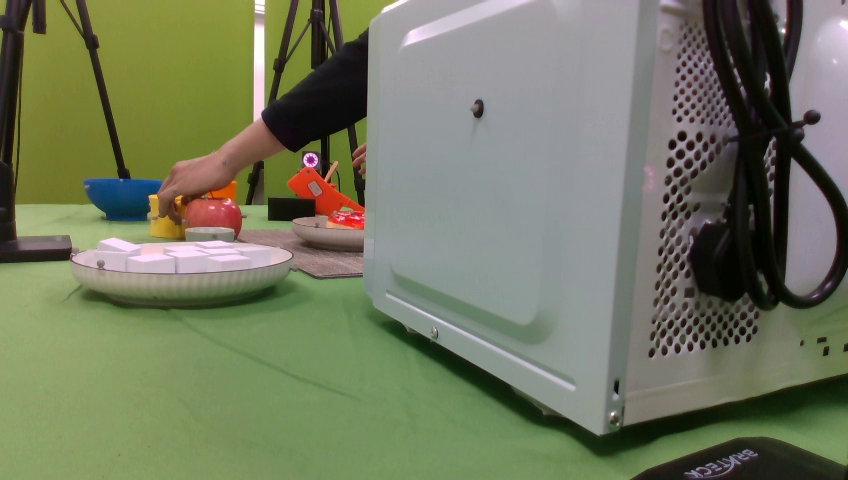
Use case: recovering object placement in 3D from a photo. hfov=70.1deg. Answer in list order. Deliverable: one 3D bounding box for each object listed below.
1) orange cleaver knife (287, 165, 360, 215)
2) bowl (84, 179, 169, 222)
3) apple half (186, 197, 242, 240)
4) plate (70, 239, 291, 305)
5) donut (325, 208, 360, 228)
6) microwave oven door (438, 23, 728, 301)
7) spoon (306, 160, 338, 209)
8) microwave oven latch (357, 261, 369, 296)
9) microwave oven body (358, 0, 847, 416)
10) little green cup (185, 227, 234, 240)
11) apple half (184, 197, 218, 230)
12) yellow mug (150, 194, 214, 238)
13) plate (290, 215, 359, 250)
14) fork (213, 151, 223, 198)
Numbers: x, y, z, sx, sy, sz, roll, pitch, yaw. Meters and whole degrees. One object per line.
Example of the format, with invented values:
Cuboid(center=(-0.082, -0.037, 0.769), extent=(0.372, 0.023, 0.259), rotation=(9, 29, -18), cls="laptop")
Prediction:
Cuboid(center=(-0.211, -0.092, 1.382), extent=(0.212, 0.077, 0.012), rotation=(33, 1, -15), cls="orange cleaver knife")
Cuboid(center=(-0.584, -0.078, 1.194), extent=(0.151, 0.077, 0.151), rotation=(3, 8, 0), cls="bowl")
Cuboid(center=(-0.307, -0.026, 0.904), extent=(0.053, 0.074, 0.081), rotation=(13, 9, 37), cls="apple half")
Cuboid(center=(-0.242, 0.031, 0.618), extent=(0.208, 0.039, 0.207), rotation=(3, 8, 0), cls="plate")
Cuboid(center=(-0.111, -0.025, 0.974), extent=(0.099, 0.048, 0.099), rotation=(5, 8, 0), cls="donut")
Cuboid(center=(0.181, -0.072, 0.621), extent=(0.358, 0.243, 0.039), rotation=(-2, 8, -29), cls="microwave oven door")
Cuboid(center=(-0.257, -0.147, 1.567), extent=(0.041, 0.022, 0.193), rotation=(2, 51, 20), cls="spoon")
Cuboid(center=(-0.019, 0.033, 0.532), extent=(0.079, 0.029, 0.030), rotation=(-1, 8, -30), cls="microwave oven latch")
Cuboid(center=(0.211, -0.047, 0.474), extent=(0.444, 0.260, 0.324), rotation=(-1, 7, -28), cls="microwave oven body")
Cuboid(center=(-0.285, 0.005, 0.805), extent=(0.061, 0.038, 0.061), rotation=(2, 8, 0), cls="little green cup")
Cuboid(center=(-0.338, -0.031, 0.926), extent=(0.032, 0.081, 0.082), rotation=(14, 13, 39), cls="apple half")
Cuboid(center=(-0.401, -0.040, 1.003), extent=(0.100, 0.064, 0.130), rotation=(0, 9, -20), cls="yellow mug")
Cuboid(center=(-0.110, -0.013, 0.974), extent=(0.209, 0.038, 0.209), rotation=(2, 8, 0), cls="plate")
Cuboid(center=(-0.494, -0.143, 1.442), extent=(0.028, 0.018, 0.206), rotation=(-3, 52, -19), cls="fork")
